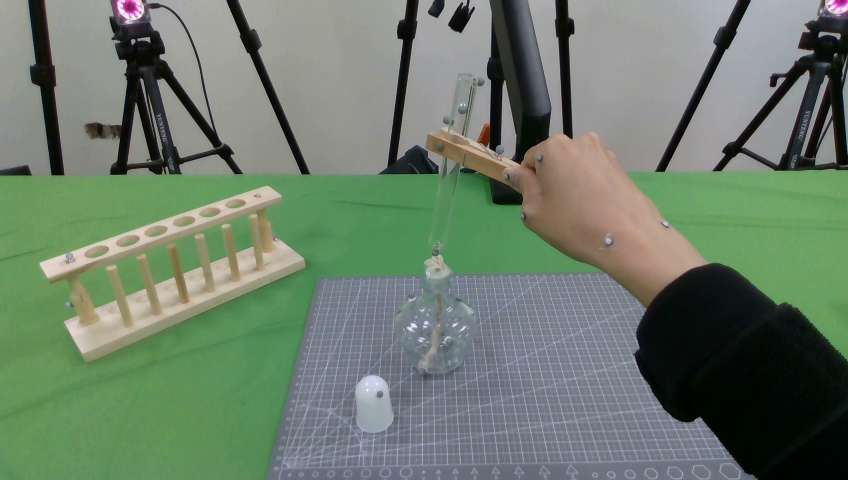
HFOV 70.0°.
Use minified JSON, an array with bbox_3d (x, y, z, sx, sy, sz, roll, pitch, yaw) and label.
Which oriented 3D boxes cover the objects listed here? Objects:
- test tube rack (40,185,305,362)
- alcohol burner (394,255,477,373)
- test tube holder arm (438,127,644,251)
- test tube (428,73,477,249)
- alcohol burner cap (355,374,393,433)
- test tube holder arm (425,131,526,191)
[{"bbox_3d":[-0.254,0.027,0.646,0.243,0.086,0.066,-25,40,-33],"label":"test tube rack"},{"bbox_3d":[0.010,0.063,0.551,0.078,0.120,0.077,1,34,0],"label":"alcohol burner"},{"bbox_3d":[0.075,-0.041,0.429,0.177,0.015,0.013,33,43,31],"label":"test tube holder arm"},{"bbox_3d":[0.020,-0.056,0.472,0.017,0.151,0.017,7,34,-4],"label":"test tube"},{"bbox_3d":[-0.043,0.134,0.507,0.034,0.048,0.033,0,33,0],"label":"alcohol burner cap"},{"bbox_3d":[0.038,-0.059,0.447,0.087,0.015,0.010,28,40,25],"label":"test tube holder arm"}]
